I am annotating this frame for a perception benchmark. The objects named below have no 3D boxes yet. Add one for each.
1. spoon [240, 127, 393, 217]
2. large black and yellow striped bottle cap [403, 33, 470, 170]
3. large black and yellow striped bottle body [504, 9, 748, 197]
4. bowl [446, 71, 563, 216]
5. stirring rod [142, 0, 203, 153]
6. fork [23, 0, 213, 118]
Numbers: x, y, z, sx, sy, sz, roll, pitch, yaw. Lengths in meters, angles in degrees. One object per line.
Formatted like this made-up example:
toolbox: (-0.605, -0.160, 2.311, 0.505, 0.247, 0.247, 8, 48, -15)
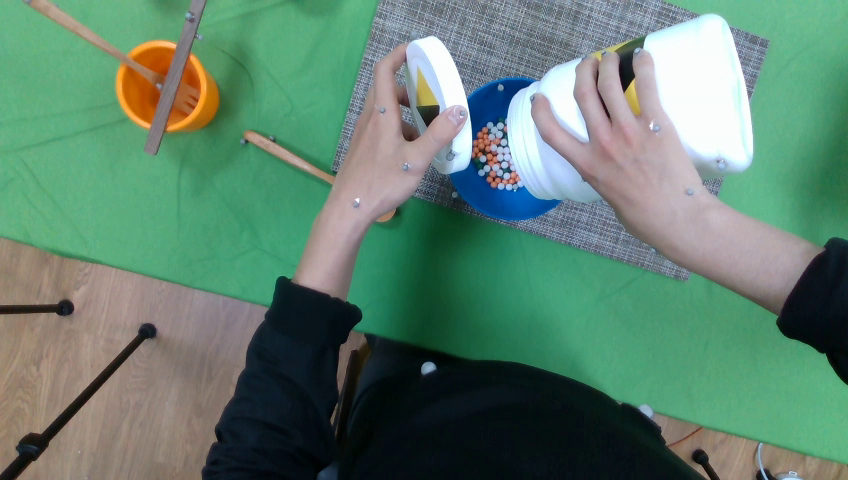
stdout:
spoon: (-0.122, -0.082, 0.692, 0.194, 0.021, 0.042, 28, 107, -7)
large black and yellow striped bottle cap: (0.009, -0.117, 0.520, 0.019, 0.114, 0.115, -17, 96, -13)
large black and yellow striped bottle body: (0.176, -0.111, 0.539, 0.183, 0.131, 0.131, -10, 97, 34)
bowl: (0.091, -0.103, 0.672, 0.151, 0.076, 0.151, 0, 96, -3)
stirring rod: (-0.251, -0.172, 0.608, 0.014, 0.006, 0.176, 19, 95, -7)
fork: (-0.302, -0.184, 0.607, 0.028, 0.018, 0.209, -52, 140, 4)
